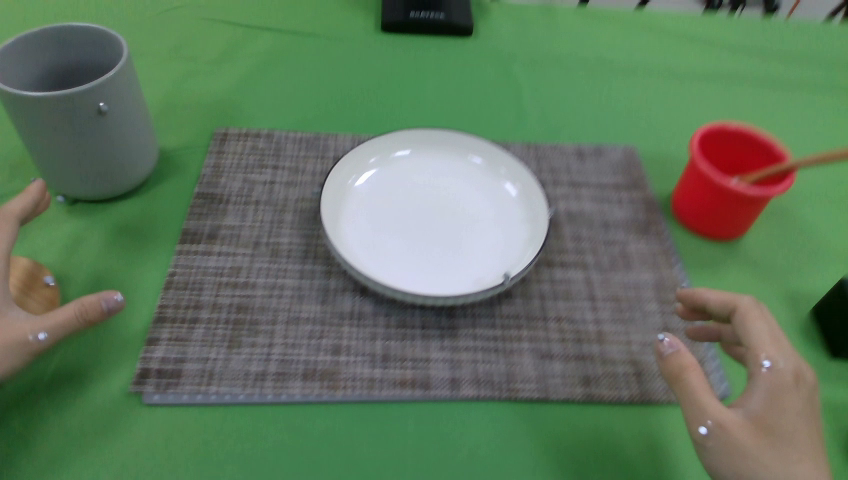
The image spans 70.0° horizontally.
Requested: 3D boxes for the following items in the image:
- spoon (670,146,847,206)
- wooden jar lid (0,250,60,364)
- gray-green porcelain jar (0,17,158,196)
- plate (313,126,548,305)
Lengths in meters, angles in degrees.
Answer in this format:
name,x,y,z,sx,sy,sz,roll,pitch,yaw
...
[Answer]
name,x,y,z,sx,sy,sz,roll,pitch,yaw
spoon,0.327,-0.063,0.558,0.193,0.022,0.041,-17,34,40
wooden jar lid,-0.335,0.054,0.460,0.108,0.021,0.107,5,50,-5
gray-green porcelain jar,-0.301,-0.111,0.534,0.106,0.127,0.105,4,49,-4
plate,0.006,-0.023,0.550,0.208,0.039,0.205,4,49,-4
